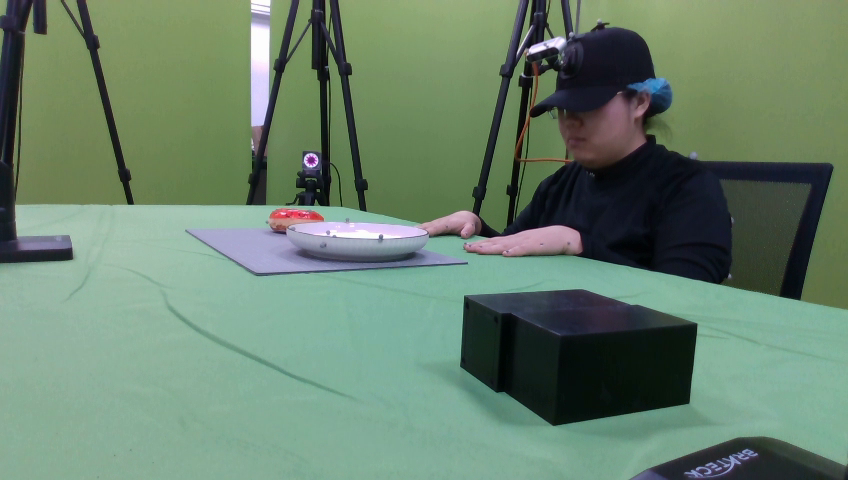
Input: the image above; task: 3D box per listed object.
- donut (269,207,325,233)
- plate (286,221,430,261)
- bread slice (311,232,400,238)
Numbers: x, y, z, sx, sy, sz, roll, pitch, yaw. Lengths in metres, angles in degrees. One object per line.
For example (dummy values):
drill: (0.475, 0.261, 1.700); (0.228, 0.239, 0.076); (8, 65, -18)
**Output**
donut: (-0.230, -0.035, 1.098); (0.099, 0.048, 0.099); (3, 5, 0)
plate: (-0.096, 0.001, 0.886); (0.209, 0.038, 0.209); (2, 7, 0)
bread slice: (-0.101, 0.002, 0.885); (0.135, 0.018, 0.106); (-3, 8, -38)
